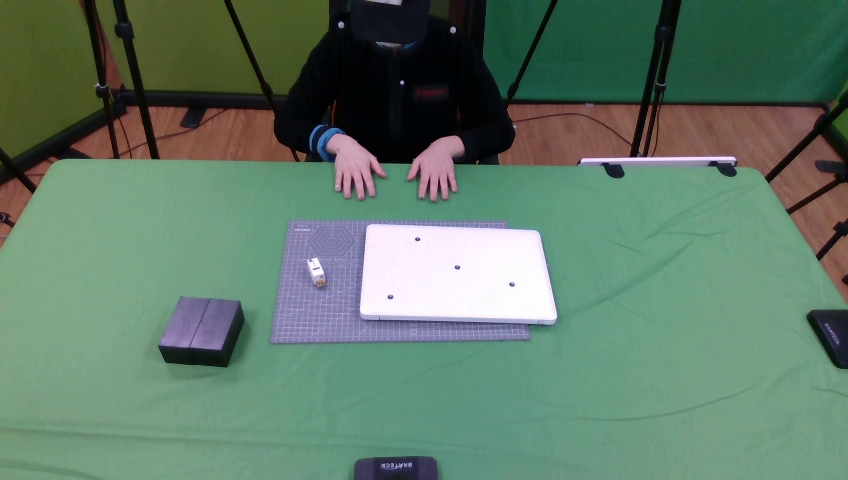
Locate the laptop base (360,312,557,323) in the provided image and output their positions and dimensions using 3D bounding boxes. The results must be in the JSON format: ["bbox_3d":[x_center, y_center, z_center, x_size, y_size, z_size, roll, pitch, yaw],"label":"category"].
[{"bbox_3d":[0.061,0.063,1.145,0.354,0.023,0.234,2,43,-3],"label":"laptop base"}]

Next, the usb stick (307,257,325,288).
[{"bbox_3d":[-0.198,0.062,1.116,0.021,0.027,0.059,-15,52,-19],"label":"usb stick"}]

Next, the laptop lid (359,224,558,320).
[{"bbox_3d":[0.062,0.053,1.138,0.357,0.013,0.240,3,44,-2],"label":"laptop lid"}]
